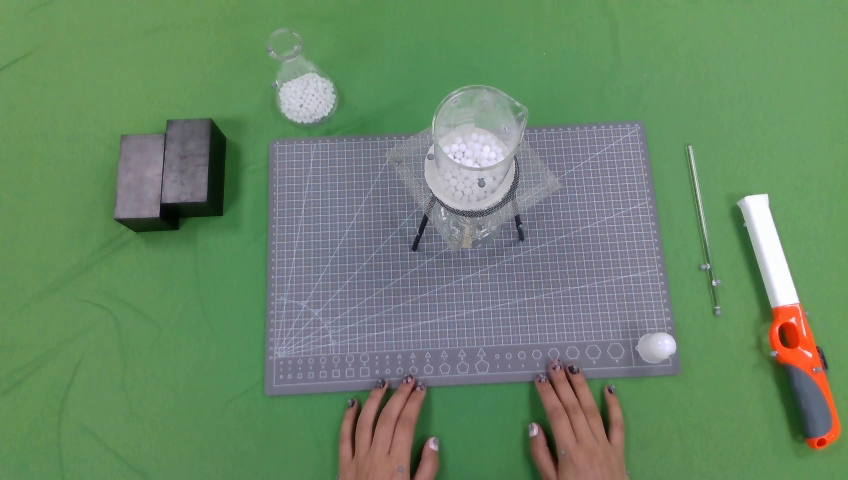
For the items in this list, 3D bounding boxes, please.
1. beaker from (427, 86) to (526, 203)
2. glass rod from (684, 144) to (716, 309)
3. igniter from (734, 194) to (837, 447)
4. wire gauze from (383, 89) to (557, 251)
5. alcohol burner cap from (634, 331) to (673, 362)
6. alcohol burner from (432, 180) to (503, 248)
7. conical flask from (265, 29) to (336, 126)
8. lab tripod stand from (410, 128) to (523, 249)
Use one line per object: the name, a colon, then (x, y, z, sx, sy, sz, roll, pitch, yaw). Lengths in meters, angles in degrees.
beaker: (0.044, -0.079, 0.530, 0.084, 0.100, 0.073, -23, 78, -5)
glass rod: (0.318, -0.019, 0.698, 0.008, 0.008, 0.198, -2, 75, 0)
igniter: (0.393, 0.081, 0.662, 0.057, 0.025, 0.275, -6, 76, -12)
wire gauze: (0.044, -0.067, 0.577, 0.125, 0.011, 0.121, -31, 81, -8)
alcohol burner cap: (0.247, 0.111, 0.644, 0.034, 0.048, 0.033, 0, 75, 1)
alcohol burner: (0.047, -0.034, 0.646, 0.078, 0.119, 0.077, 0, 73, -1)
conical flask: (-0.145, -0.187, 0.685, 0.075, 0.122, 0.075, 0, 75, 1)
lab tripod stand: (0.044, -0.046, 0.639, 0.148, 0.132, 0.147, 0, 77, 1)
